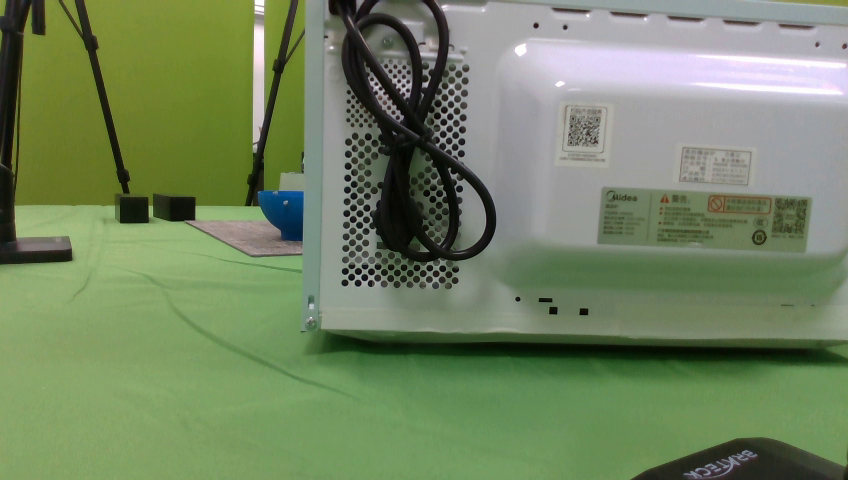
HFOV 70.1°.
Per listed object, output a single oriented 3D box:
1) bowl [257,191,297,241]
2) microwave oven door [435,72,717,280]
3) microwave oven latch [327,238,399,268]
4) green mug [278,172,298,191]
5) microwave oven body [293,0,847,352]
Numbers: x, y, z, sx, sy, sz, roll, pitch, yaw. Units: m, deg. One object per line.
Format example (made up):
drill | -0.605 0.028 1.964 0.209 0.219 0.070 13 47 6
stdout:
bowl | -0.206 -0.041 1.027 0.151 0.077 0.151 3 8 0
microwave oven door | 0.180 -0.090 0.795 0.354 0.243 0.039 6 7 30
microwave oven latch | -0.069 0.015 0.694 0.079 0.029 0.030 3 7 -3
green mug | -0.250 -0.089 1.279 0.092 0.105 0.126 9 9 40
microwave oven body | 0.122 -0.055 0.550 0.442 0.260 0.325 3 7 -5
